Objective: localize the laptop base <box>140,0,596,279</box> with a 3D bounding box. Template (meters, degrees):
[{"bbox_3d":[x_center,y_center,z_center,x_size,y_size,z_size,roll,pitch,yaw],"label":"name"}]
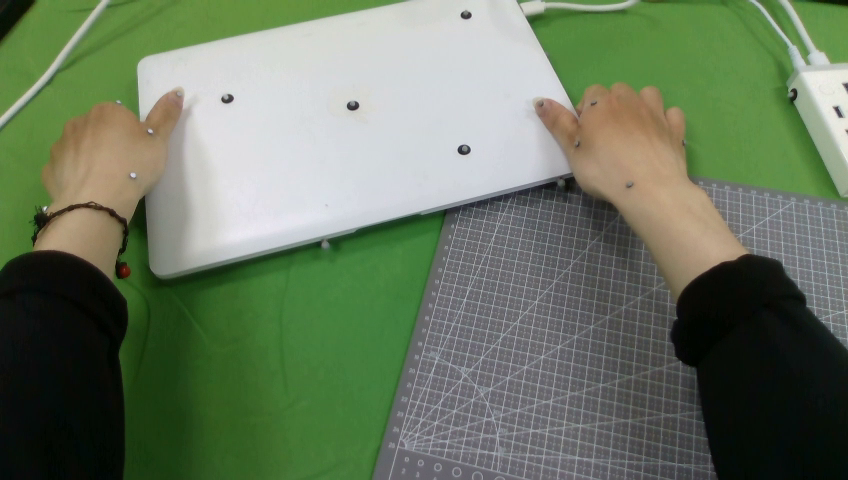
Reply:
[{"bbox_3d":[-0.060,-0.106,0.523,0.355,0.023,0.233,-15,62,-6],"label":"laptop base"}]

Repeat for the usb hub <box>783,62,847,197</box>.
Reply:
[{"bbox_3d":[0.343,-0.093,0.498,0.049,0.025,0.124,-4,59,0],"label":"usb hub"}]

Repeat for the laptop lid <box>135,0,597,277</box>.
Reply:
[{"bbox_3d":[-0.060,-0.111,0.510,0.357,0.013,0.239,-13,61,-6],"label":"laptop lid"}]
